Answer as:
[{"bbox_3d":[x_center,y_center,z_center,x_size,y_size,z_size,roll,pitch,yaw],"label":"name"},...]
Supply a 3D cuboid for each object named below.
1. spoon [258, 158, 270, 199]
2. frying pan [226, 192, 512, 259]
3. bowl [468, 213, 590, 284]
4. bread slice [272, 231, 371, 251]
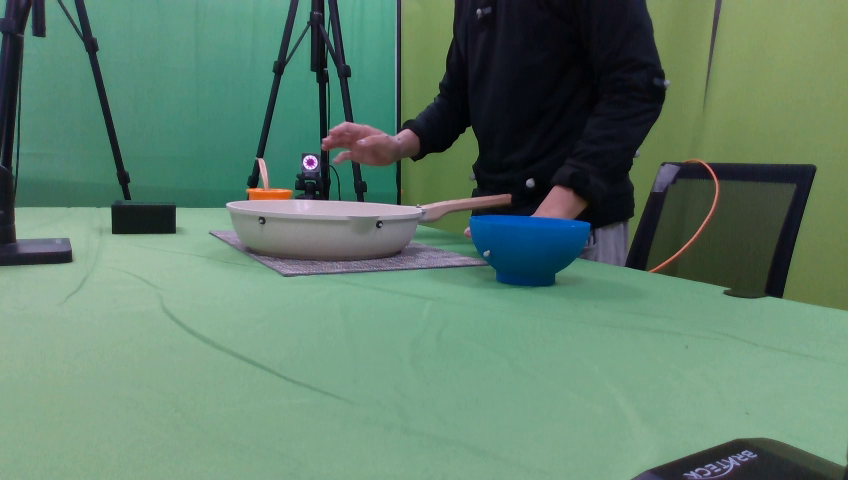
[{"bbox_3d":[-0.332,-0.107,1.269,0.042,0.021,0.193,0,53,-23],"label":"spoon"},{"bbox_3d":[-0.058,-0.041,0.974,0.490,0.102,0.305,-11,13,-26],"label":"frying pan"},{"bbox_3d":[0.128,0.010,0.755,0.151,0.077,0.151,2,7,0],"label":"bowl"},{"bbox_3d":[-0.148,0.001,0.929,0.133,0.018,0.107,5,8,38],"label":"bread slice"}]
